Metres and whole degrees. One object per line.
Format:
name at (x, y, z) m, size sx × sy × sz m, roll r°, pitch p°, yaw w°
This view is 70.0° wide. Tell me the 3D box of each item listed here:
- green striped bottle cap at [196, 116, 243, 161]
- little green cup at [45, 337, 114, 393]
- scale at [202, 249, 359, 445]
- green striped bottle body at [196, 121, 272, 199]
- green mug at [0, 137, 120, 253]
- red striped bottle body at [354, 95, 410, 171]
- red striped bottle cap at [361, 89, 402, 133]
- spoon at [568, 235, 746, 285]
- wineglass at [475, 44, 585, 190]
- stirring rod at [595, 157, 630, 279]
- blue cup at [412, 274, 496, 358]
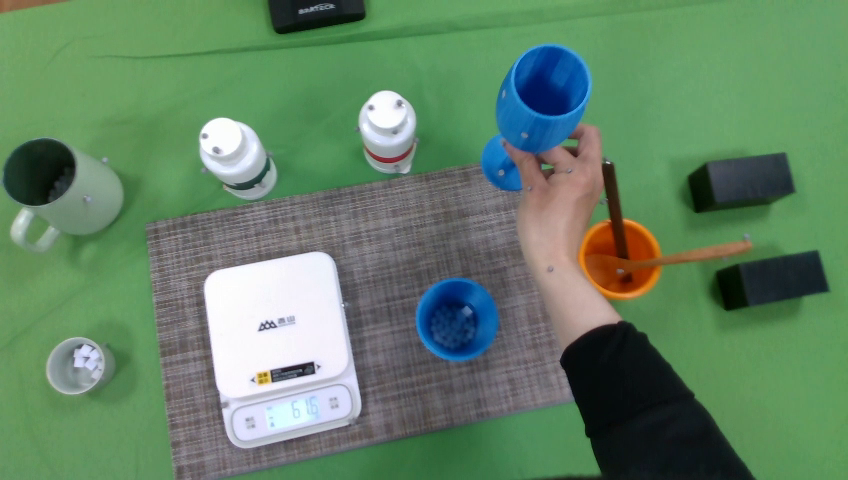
green striped bottle cap at (-0.212, -0.105, 0.627) m, size 0.044 × 0.020 × 0.044 m, roll 0°, pitch 78°, yaw -1°
little green cup at (-0.377, 0.138, 0.668) m, size 0.061 × 0.039 × 0.061 m, roll 1°, pitch 78°, yaw -3°
scale at (-0.162, 0.117, 0.682) m, size 0.149 × 0.031 × 0.200 m, roll -12°, pitch 79°, yaw -5°
green striped bottle body at (-0.214, -0.092, 0.682) m, size 0.063 × 0.119 × 0.063 m, roll 1°, pitch 78°, yaw -2°
green mug at (-0.410, -0.044, 0.671) m, size 0.092 × 0.105 × 0.125 m, roll 23°, pitch 78°, yaw 3°
red striped bottle body at (-0.047, -0.127, 0.697) m, size 0.063 × 0.120 × 0.063 m, roll 1°, pitch 78°, yaw -2°
red striped bottle cap at (-0.045, -0.138, 0.644) m, size 0.044 × 0.018 × 0.044 m, roll 0°, pitch 76°, yaw -1°
spoon at (0.248, 0.020, 0.664) m, size 0.022 × 0.193 × 0.041 m, roll -7°, pitch 85°, yaw -48°
wineglass at (0.088, -0.102, 0.544) m, size 0.074 × 0.173 × 0.073 m, roll 1°, pitch 77°, yaw -3°
stirring rod at (0.209, -0.018, 0.668) m, size 0.014 × 0.178 × 0.006 m, roll -3°, pitch 42°, yaw 25°
blue cup at (0.030, 0.087, 0.661) m, size 0.093 × 0.100 × 0.092 m, roll 0°, pitch 78°, yaw -1°
